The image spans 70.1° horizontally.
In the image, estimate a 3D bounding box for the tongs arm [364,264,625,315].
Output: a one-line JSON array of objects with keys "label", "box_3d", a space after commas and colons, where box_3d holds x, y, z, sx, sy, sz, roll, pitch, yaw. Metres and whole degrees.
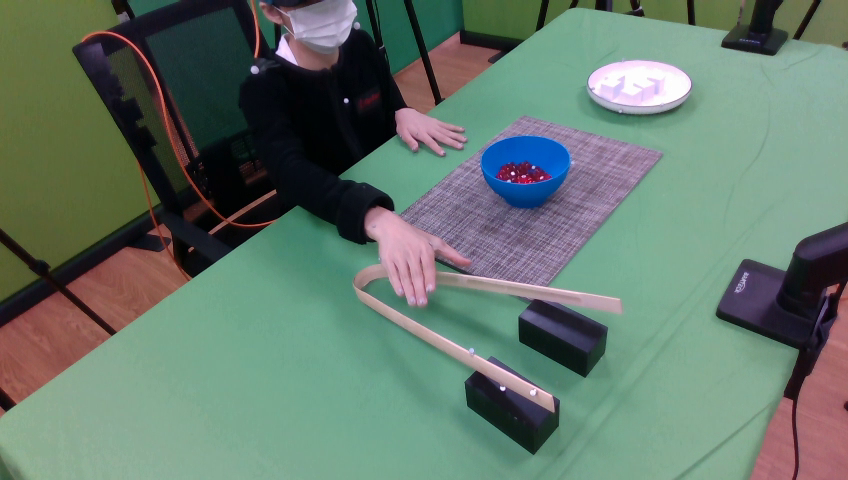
[{"label": "tongs arm", "box_3d": [0.079, 0.066, 0.828, 0.385, 0.028, 0.028, 6, 44, 32]}]

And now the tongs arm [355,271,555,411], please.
[{"label": "tongs arm", "box_3d": [0.023, 0.115, 0.778, 0.051, 0.027, 0.381, -39, 38, -28]}]

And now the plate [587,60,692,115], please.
[{"label": "plate", "box_3d": [0.445, -0.313, 1.263, 0.209, 0.038, 0.208, -5, 40, 4]}]

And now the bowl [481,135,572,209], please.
[{"label": "bowl", "box_3d": [0.172, -0.106, 1.025, 0.151, 0.077, 0.150, -4, 40, 4]}]
